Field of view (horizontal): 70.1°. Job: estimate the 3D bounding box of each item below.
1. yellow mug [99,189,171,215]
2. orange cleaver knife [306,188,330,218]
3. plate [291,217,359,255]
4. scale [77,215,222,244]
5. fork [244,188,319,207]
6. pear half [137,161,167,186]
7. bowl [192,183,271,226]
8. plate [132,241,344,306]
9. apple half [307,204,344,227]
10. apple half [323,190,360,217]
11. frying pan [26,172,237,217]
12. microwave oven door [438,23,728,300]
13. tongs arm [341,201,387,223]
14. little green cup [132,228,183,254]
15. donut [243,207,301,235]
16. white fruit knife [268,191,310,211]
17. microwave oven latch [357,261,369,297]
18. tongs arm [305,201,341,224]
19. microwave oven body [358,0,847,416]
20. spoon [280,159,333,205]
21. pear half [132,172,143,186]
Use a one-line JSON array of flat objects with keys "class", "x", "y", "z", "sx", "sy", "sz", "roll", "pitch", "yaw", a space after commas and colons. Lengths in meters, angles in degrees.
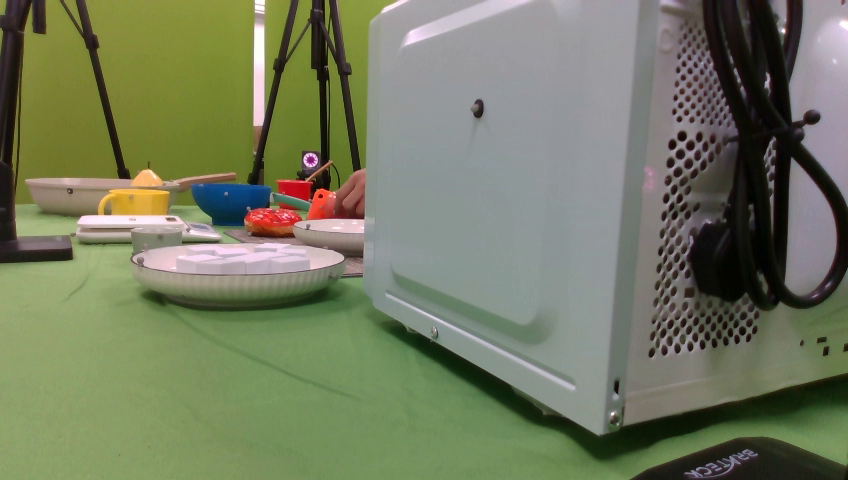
[{"class": "yellow mug", "x": -0.518, "y": -0.055, "z": 1.080, "sx": 0.099, "sy": 0.064, "sz": 0.131, "roll": 7, "pitch": 9, "yaw": 26}, {"class": "orange cleaver knife", "x": -0.119, "y": -0.057, "z": 1.161, "sx": 0.212, "sy": 0.077, "sz": 0.012, "roll": 2, "pitch": 10, "yaw": -19}, {"class": "plate", "x": -0.098, "y": -0.007, "z": 0.928, "sx": 0.209, "sy": 0.038, "sz": 0.209, "roll": 2, "pitch": 8, "yaw": 0}, {"class": "scale", "x": -0.434, "y": -0.019, "z": 0.963, "sx": 0.202, "sy": 0.031, "sz": 0.148, "roll": -1, "pitch": 9, "yaw": -27}, {"class": "fork", "x": -0.356, "y": -0.105, "z": 1.526, "sx": 0.208, "sy": 0.018, "sz": 0.028, "roll": 16, "pitch": -6, "yaw": -41}, {"class": "pear half", "x": -0.602, "y": -0.120, "z": 1.354, "sx": 0.056, "sy": 0.110, "sz": 0.076, "roll": 4, "pitch": 11, "yaw": 6}, {"class": "bowl", "x": -0.382, "y": -0.071, "z": 1.202, "sx": 0.151, "sy": 0.077, "sz": 0.151, "roll": 3, "pitch": 7, "yaw": 0}, {"class": "plate", "x": -0.187, "y": 0.033, "z": 0.625, "sx": 0.208, "sy": 0.039, "sz": 0.207, "roll": 2, "pitch": 7, "yaw": 0}, {"class": "apple half", "x": -0.193, "y": -0.045, "z": 1.222, "sx": 0.081, "sy": 0.033, "sz": 0.081, "roll": -20, "pitch": -2, "yaw": 0}, {"class": "apple half", "x": -0.145, "y": -0.051, "z": 1.115, "sx": 0.081, "sy": 0.074, "sz": 0.053, "roll": 6, "pitch": 24, "yaw": -15}, {"class": "frying pan", "x": -0.624, "y": -0.118, "z": 1.387, "sx": 0.305, "sy": 0.102, "sz": 0.490, "roll": 8, "pitch": 17, "yaw": 32}, {"class": "microwave oven door", "x": 0.181, "y": -0.073, "z": 0.621, "sx": 0.358, "sy": 0.243, "sz": 0.039, "roll": -2, "pitch": 8, "yaw": -29}, {"class": "tongs arm", "x": -0.149, "y": -0.069, "z": 1.430, "sx": 0.051, "sy": 0.026, "sz": 0.383, "roll": -4, "pitch": 8, "yaw": -14}, {"class": "little green cup", "x": -0.342, "y": 0.006, "z": 0.779, "sx": 0.061, "sy": 0.038, "sz": 0.061, "roll": 2, "pitch": 8, "yaw": 0}, {"class": "donut", "x": -0.261, "y": -0.032, "z": 1.043, "sx": 0.099, "sy": 0.048, "sz": 0.099, "roll": 4, "pitch": 9, "yaw": 0}, {"class": "white fruit knife", "x": -0.364, "y": -0.105, "z": 1.464, "sx": 0.208, "sy": 0.027, "sz": 0.016, "roll": 15, "pitch": -1, "yaw": -34}, {"class": "microwave oven latch", "x": -0.019, "y": 0.033, "z": 0.530, "sx": 0.079, "sy": 0.029, "sz": 0.030, "roll": -1, "pitch": 7, "yaw": -26}, {"class": "tongs arm", "x": -0.234, "y": -0.067, "z": 1.415, "sx": 0.028, "sy": 0.028, "sz": 0.387, "roll": -5, "pitch": 7, "yaw": 1}, {"class": "microwave oven body", "x": 0.211, "y": -0.047, "z": 0.474, "sx": 0.444, "sy": 0.260, "sz": 0.324, "roll": -1, "pitch": 7, "yaw": -28}, {"class": "spoon", "x": -0.316, "y": -0.159, "z": 1.640, "sx": 0.194, "sy": 0.022, "sz": 0.041, "roll": -50, "pitch": 32, "yaw": -20}, {"class": "pear half", "x": -0.638, "y": -0.113, "z": 1.361, "sx": 0.031, "sy": 0.088, "sz": 0.070, "roll": 5, "pitch": 11, "yaw": 4}]
